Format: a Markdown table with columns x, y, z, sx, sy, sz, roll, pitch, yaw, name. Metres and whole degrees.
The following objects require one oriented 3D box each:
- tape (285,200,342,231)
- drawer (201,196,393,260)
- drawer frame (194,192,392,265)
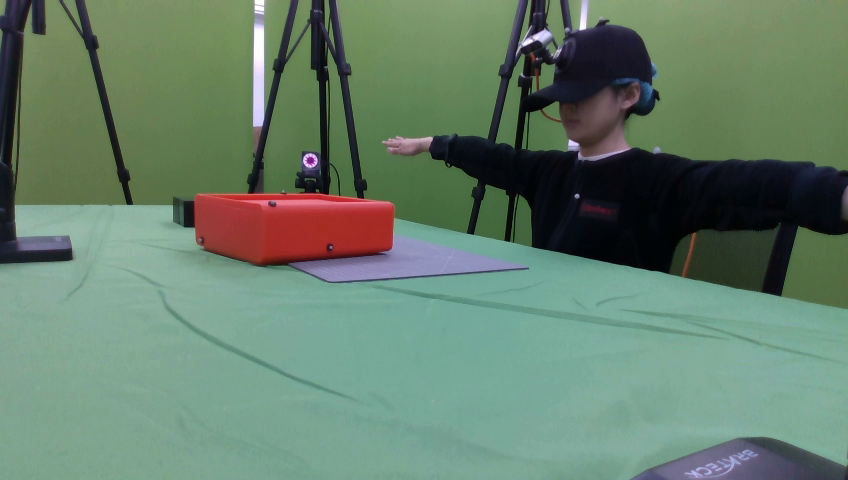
| x | y | z | sx | sy | sz | roll | pitch | yaw | name |
| --- | --- | --- | --- | --- | --- | --- | --- | --- | --- |
| -0.223 | -0.051 | 1.221 | 0.117 | 0.052 | 0.117 | 3 | 7 | 0 | tape |
| -0.186 | -0.023 | 0.886 | 0.213 | 0.073 | 0.193 | -5 | 12 | -43 | drawer |
| -0.190 | -0.024 | 0.882 | 0.215 | 0.082 | 0.200 | -5 | 11 | -44 | drawer frame |
